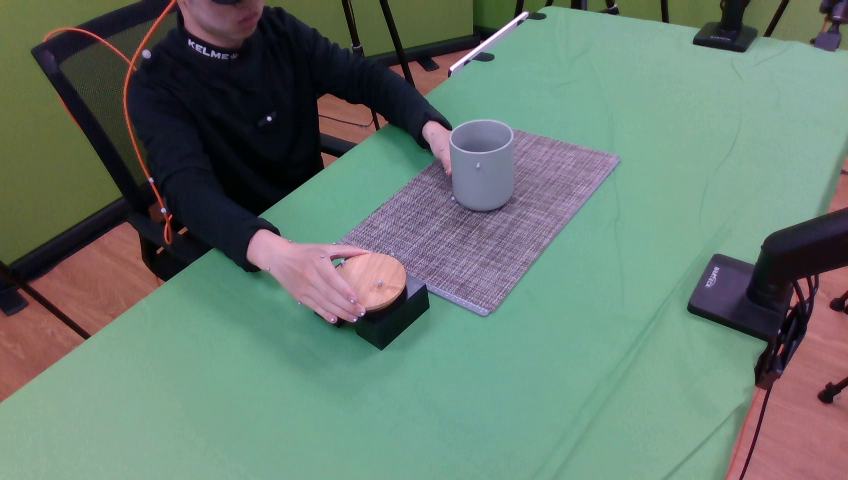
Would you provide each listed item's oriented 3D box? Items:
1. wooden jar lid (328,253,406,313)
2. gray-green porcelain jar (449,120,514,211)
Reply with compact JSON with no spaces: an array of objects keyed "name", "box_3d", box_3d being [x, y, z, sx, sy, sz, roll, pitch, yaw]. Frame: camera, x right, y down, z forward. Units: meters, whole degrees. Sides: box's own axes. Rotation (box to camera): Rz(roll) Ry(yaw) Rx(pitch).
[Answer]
[{"name":"wooden jar lid","box_3d":[-0.078,0.061,0.832,0.108,0.021,0.108,-4,39,4]},{"name":"gray-green porcelain jar","box_3d":[0.098,-0.120,1.009,0.106,0.127,0.105,-4,41,4]}]
